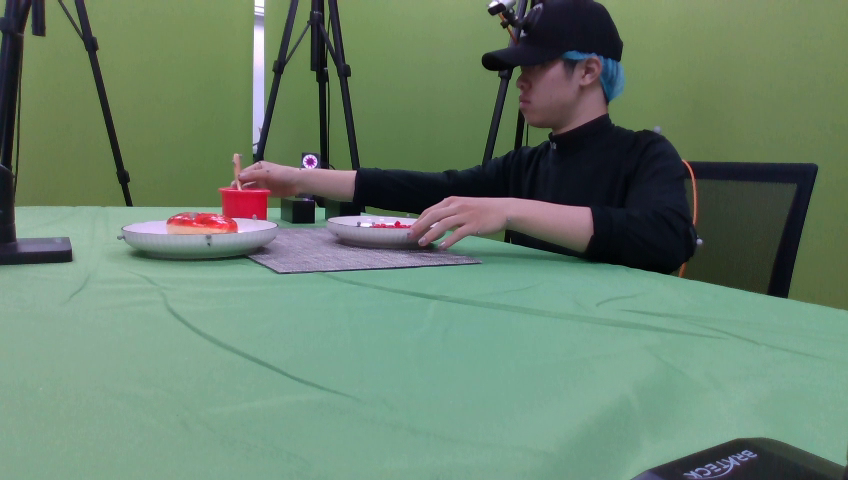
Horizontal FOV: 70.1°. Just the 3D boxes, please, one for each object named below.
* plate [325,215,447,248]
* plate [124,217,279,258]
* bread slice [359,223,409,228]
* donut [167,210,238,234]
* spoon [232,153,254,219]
[{"bbox_3d":[-0.065,-0.015,1.035,0.209,0.038,0.209,3,7,0],"label":"plate"},{"bbox_3d":[-0.315,-0.004,0.871,0.208,0.039,0.207,1,8,0],"label":"plate"},{"bbox_3d":[-0.062,-0.013,1.034,0.105,0.019,0.131,0,9,-19],"label":"bread slice"},{"bbox_3d":[-0.321,-0.017,0.882,0.099,0.048,0.099,3,6,0],"label":"donut"},{"bbox_3d":[-0.369,-0.106,1.208,0.042,0.021,0.193,-3,48,-21],"label":"spoon"}]
